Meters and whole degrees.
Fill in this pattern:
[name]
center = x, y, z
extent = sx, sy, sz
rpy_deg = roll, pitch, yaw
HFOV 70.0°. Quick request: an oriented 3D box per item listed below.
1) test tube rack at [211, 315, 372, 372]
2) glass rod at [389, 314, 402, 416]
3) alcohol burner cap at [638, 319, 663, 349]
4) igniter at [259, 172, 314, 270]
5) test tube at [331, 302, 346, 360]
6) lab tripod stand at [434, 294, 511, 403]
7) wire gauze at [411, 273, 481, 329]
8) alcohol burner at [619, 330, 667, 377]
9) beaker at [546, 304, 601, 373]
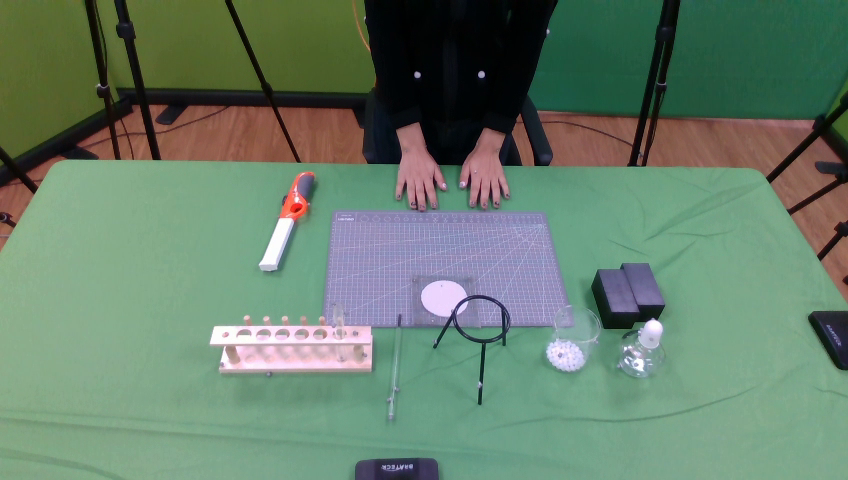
[test tube rack]
center = -0.208, 0.163, 0.982
extent = 0.242, 0.085, 0.066
rpy_deg = 1, 46, -4
[glass rod]
center = -0.048, 0.203, 1.008
extent = 0.008, 0.008, 0.198
rpy_deg = 4, 45, 0
[alcohol burner cap]
center = 0.364, 0.147, 0.968
extent = 0.034, 0.048, 0.033
rpy_deg = -1, 44, 1
[igniter]
center = -0.273, -0.046, 1.220
extent = 0.057, 0.025, 0.275
rpy_deg = 0, 45, 10
[test tube]
center = -0.132, 0.144, 0.938
extent = 0.017, 0.151, 0.017
rpy_deg = 2, 49, -3
[lab tripod stand]
center = 0.087, 0.164, 0.969
extent = 0.148, 0.132, 0.147
rpy_deg = 3, 47, -3
[wire gauze]
center = 0.038, 0.108, 1.103
extent = 0.125, 0.011, 0.120
rpy_deg = 2, 47, -3
[alcohol burner]
center = 0.363, 0.172, 0.995
extent = 0.078, 0.120, 0.077
rpy_deg = 1, 48, -1
[beaker]
center = 0.242, 0.167, 1.001
extent = 0.084, 0.101, 0.073
rpy_deg = -32, 55, -28
